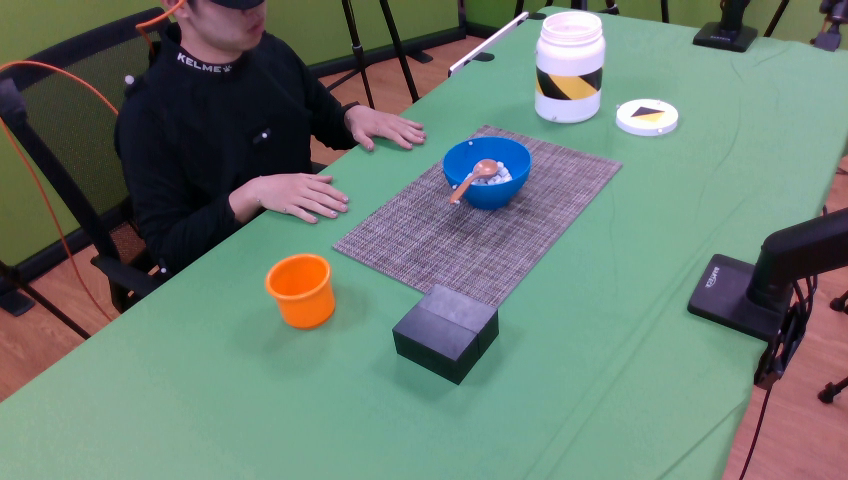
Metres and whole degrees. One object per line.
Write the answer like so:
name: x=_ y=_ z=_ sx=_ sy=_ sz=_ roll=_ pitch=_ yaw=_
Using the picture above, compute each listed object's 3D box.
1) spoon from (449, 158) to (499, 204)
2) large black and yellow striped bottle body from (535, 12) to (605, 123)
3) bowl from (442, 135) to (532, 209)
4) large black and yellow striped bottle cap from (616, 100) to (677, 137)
spoon: x=0.076 y=-0.096 z=0.967 sx=0.041 sy=0.021 sz=0.194 roll=14 pitch=27 yaw=20
large black and yellow striped bottle body: x=0.288 y=-0.341 z=1.197 sx=0.131 sy=0.185 sz=0.130 roll=-4 pitch=41 yaw=4
bowl: x=0.108 y=-0.106 z=1.026 sx=0.151 sy=0.077 sz=0.150 roll=-4 pitch=41 yaw=4
large black and yellow striped bottle cap: x=0.438 y=-0.241 z=1.190 sx=0.115 sy=0.019 sz=0.114 roll=-4 pitch=42 yaw=4
